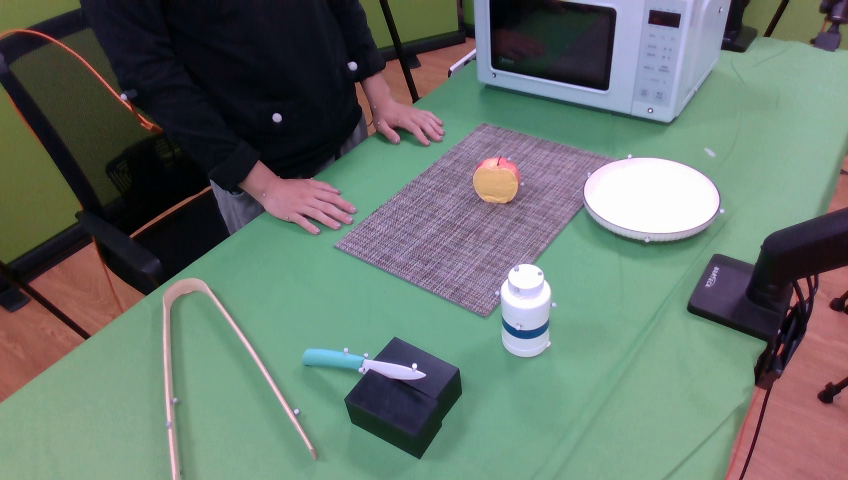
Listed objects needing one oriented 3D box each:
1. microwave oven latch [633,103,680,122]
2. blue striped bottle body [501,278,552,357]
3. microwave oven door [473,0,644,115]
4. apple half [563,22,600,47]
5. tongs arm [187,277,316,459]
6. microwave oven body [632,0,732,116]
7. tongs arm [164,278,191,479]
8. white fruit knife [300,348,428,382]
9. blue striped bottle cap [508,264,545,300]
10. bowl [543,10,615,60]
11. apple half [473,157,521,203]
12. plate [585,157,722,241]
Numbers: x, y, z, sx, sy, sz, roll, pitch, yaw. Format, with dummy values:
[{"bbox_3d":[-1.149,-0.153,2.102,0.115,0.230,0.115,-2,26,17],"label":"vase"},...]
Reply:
[{"bbox_3d":[0.444,-0.249,1.157,0.078,0.029,0.030,21,48,30],"label":"microwave oven latch"},{"bbox_3d":[0.130,0.088,0.769,0.063,0.121,0.063,-4,41,4],"label":"blue striped bottle body"},{"bbox_3d":[0.257,-0.396,1.199,0.353,0.245,0.039,21,48,29],"label":"microwave oven door"},{"bbox_3d":[0.334,-0.447,1.299,0.081,0.033,0.081,-15,36,12],"label":"apple half"},{"bbox_3d":[-0.241,0.154,0.815,0.028,0.028,0.384,-31,46,-21],"label":"tongs arm"},{"bbox_3d":[0.377,-0.462,1.267,0.438,0.261,0.327,21,48,30],"label":"microwave oven body"},{"bbox_3d":[-0.313,0.182,0.789,0.051,0.026,0.381,-19,41,-14],"label":"tongs arm"},{"bbox_3d":[-0.079,0.154,0.748,0.206,0.027,0.016,1,20,34],"label":"white fruit knife"},{"bbox_3d":[0.125,0.050,0.735,0.044,0.021,0.044,-5,39,5],"label":"blue striped bottle cap"},{"bbox_3d":[0.335,-0.439,1.306,0.151,0.077,0.151,-8,30,5],"label":"bowl"},{"bbox_3d":[0.128,-0.107,1.030,0.080,0.075,0.053,4,38,19],"label":"apple half"},{"bbox_3d":[0.367,-0.063,0.979,0.207,0.039,0.206,-4,40,4],"label":"plate"}]
